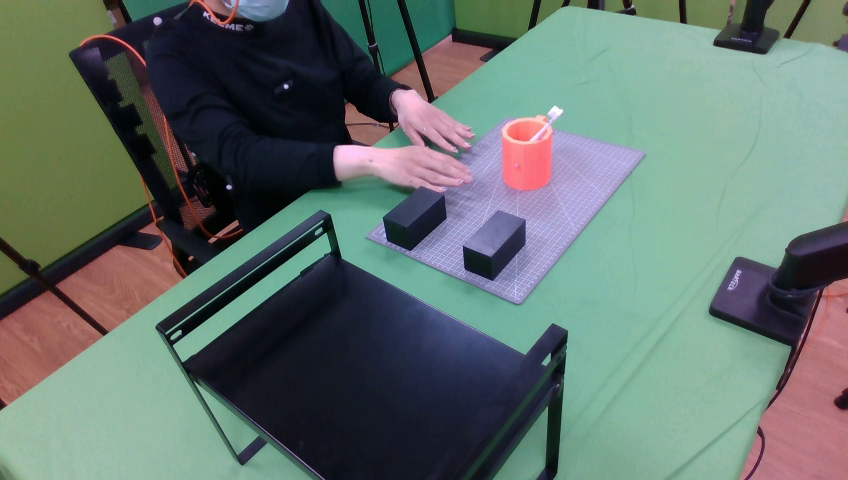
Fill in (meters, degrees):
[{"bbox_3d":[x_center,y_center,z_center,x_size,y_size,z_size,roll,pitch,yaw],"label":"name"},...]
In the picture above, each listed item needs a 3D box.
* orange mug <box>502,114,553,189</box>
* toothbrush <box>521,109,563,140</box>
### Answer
[{"bbox_3d":[0.190,-0.164,1.071,0.083,0.101,0.126,16,50,25],"label":"orange mug"},{"bbox_3d":[0.185,-0.181,1.016,0.017,0.181,0.014,-4,81,-16],"label":"toothbrush"}]
